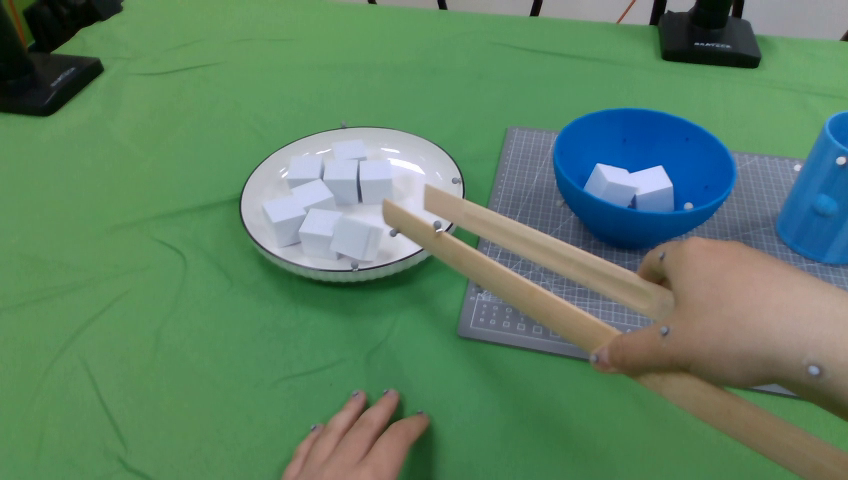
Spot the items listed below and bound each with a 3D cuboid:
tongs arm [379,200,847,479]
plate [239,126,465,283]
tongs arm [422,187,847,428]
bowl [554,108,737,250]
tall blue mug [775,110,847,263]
[{"bbox_3d":[0.100,0.044,0.374,0.051,0.027,0.380,-17,33,-34],"label":"tongs arm"},{"bbox_3d":[-0.065,-0.035,0.571,0.209,0.038,0.207,0,45,1],"label":"plate"},{"bbox_3d":[0.122,0.036,0.391,0.028,0.028,0.383,-15,32,-38],"label":"tongs arm"},{"bbox_3d":[0.187,-0.045,0.542,0.151,0.077,0.150,-1,45,1],"label":"bowl"},{"bbox_3d":[0.372,-0.039,0.508,0.106,0.109,0.077,17,47,19],"label":"tall blue mug"}]
